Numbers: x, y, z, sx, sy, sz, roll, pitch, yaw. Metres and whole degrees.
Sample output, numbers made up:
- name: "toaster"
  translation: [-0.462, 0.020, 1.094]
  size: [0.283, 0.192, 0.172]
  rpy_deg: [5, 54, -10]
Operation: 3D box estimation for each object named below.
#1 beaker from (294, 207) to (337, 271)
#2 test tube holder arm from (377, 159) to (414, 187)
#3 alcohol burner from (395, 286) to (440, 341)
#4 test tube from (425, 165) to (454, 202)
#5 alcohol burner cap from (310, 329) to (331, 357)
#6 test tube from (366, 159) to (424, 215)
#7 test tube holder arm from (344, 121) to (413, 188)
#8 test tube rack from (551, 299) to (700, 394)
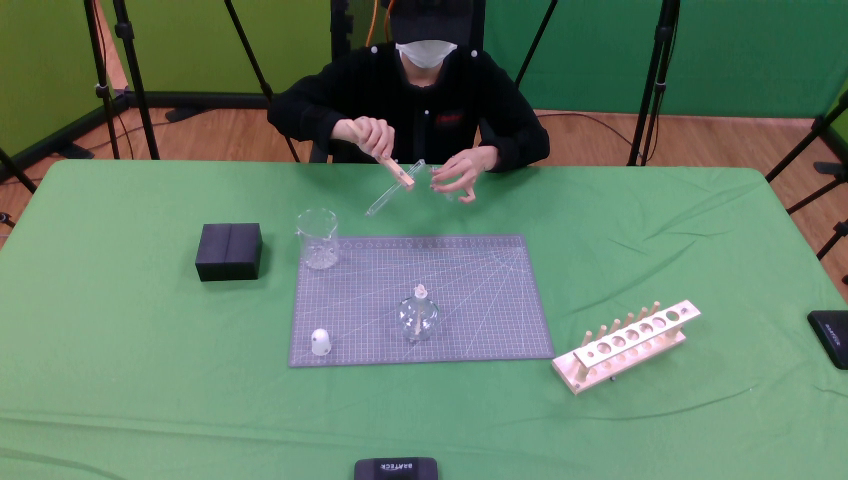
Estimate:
- name: "beaker"
  translation: [-0.196, 0.003, 1.123]
  size: [0.074, 0.101, 0.083]
  rpy_deg: [-23, 52, -24]
- name: "test tube holder arm"
  translation: [-0.052, -0.124, 1.083]
  size: [0.015, 0.010, 0.087]
  rpy_deg: [-37, 63, -25]
- name: "alcohol burner"
  translation: [-0.010, 0.116, 1.018]
  size: [0.078, 0.119, 0.077]
  rpy_deg: [3, 47, -3]
- name: "test tube"
  translation: [0.032, -0.108, 1.182]
  size: [0.017, 0.151, 0.017]
  rpy_deg: [-7, 68, 18]
- name: "alcohol burner cap"
  translation: [-0.173, 0.168, 1.005]
  size: [0.034, 0.048, 0.033]
  rpy_deg: [2, 46, -2]
- name: "test tube"
  translation: [-0.051, -0.094, 1.069]
  size: [0.017, 0.017, 0.150]
  rpy_deg: [32, 62, 24]
- name: "test tube holder arm"
  translation: [-0.083, -0.157, 1.093]
  size: [0.015, 0.013, 0.178]
  rpy_deg: [-37, 73, -25]
- name: "test tube rack"
  translation: [0.339, 0.166, 1.021]
  size: [0.242, 0.085, 0.066]
  rpy_deg: [-19, 50, -21]
